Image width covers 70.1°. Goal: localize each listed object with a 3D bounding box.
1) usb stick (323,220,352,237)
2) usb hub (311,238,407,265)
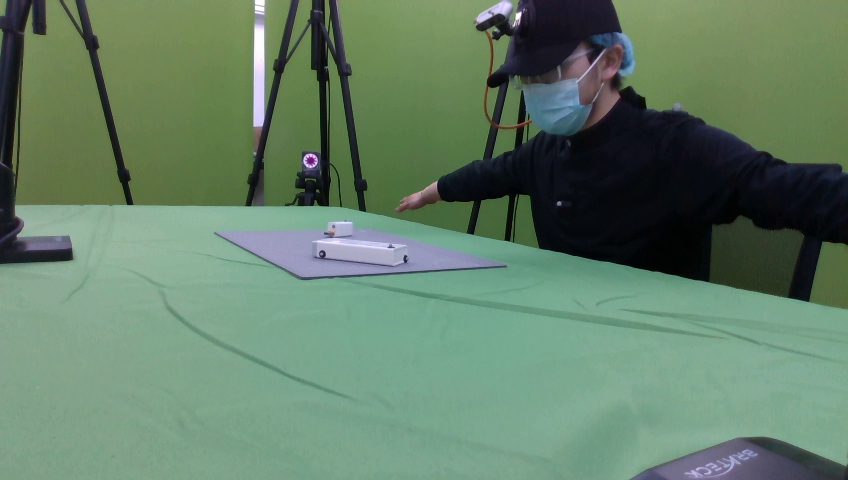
[{"bbox_3d":[-0.154,-0.020,1.072,0.021,0.027,0.059,10,13,35],"label":"usb stick"},{"bbox_3d":[-0.089,0.014,0.828,0.125,0.025,0.050,5,8,21],"label":"usb hub"}]
